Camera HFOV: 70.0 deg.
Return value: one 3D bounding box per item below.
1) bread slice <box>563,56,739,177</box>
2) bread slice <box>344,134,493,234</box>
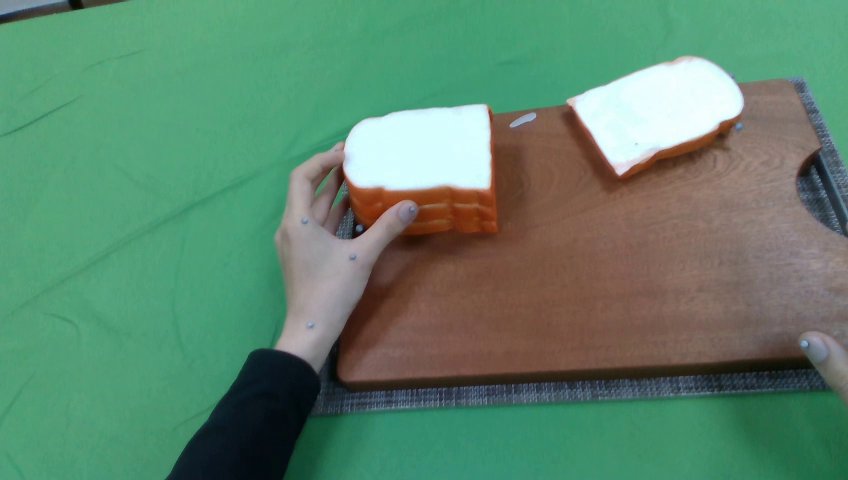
[{"bbox_3d":[0.205,-0.113,0.535,0.131,0.019,0.103,-22,51,3],"label":"bread slice"},{"bbox_3d":[-0.004,-0.052,0.543,0.134,0.018,0.106,0,54,8],"label":"bread slice"}]
